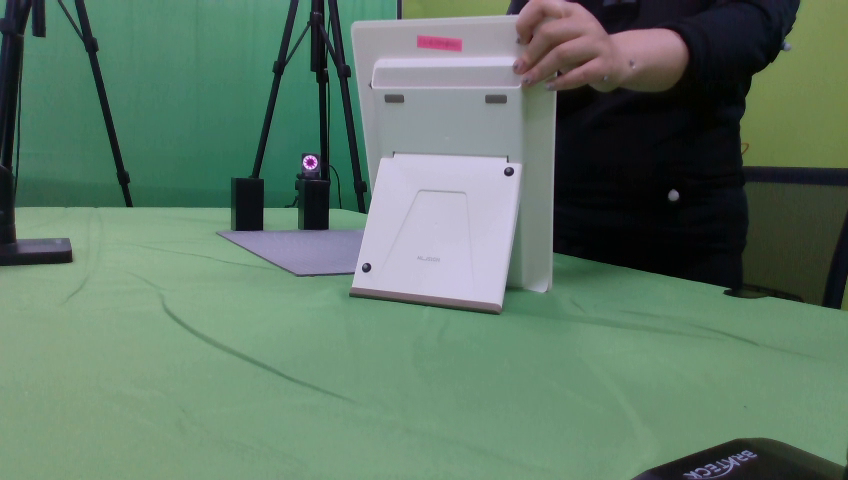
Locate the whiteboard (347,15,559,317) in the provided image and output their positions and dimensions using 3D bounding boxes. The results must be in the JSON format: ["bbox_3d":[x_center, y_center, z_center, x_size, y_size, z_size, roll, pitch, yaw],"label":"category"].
[{"bbox_3d":[0.012,-0.056,0.609,0.216,0.305,0.144,5,26,19],"label":"whiteboard"}]

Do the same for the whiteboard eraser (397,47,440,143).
[{"bbox_3d":[-0.006,-0.156,0.655,0.041,0.101,0.019,5,27,18],"label":"whiteboard eraser"}]
